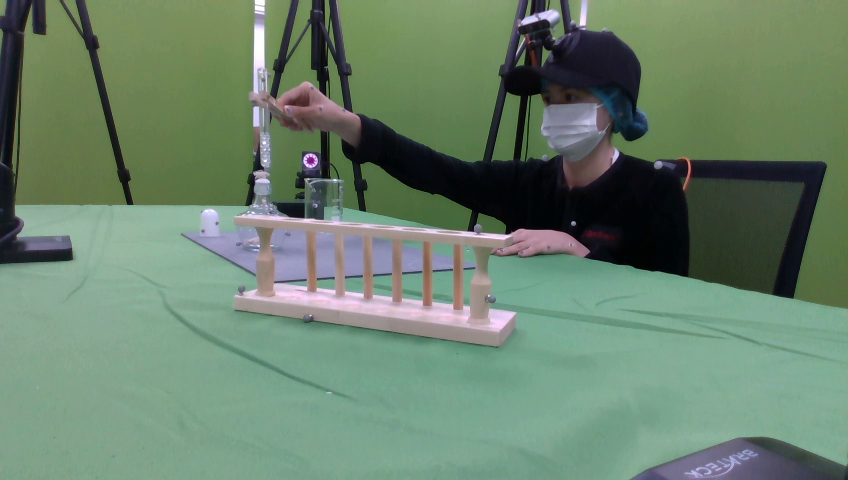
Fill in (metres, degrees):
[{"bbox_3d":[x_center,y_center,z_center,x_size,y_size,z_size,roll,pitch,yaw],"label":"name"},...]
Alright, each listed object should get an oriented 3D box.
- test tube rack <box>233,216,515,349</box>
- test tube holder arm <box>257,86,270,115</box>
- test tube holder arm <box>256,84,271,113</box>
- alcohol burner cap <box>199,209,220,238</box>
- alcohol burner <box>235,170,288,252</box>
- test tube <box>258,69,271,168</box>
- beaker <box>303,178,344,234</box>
[{"bbox_3d":[-0.045,0.029,0.526,0.241,0.085,0.067,5,8,19],"label":"test tube rack"},{"bbox_3d":[-0.243,-0.210,0.914,0.015,0.010,0.087,13,-13,-16],"label":"test tube holder arm"},{"bbox_3d":[-0.252,-0.225,0.955,0.015,0.013,0.178,11,23,-16],"label":"test tube holder arm"},{"bbox_3d":[-0.356,-0.027,1.002,0.034,0.048,0.034,2,7,0],"label":"alcohol burner cap"},{"bbox_3d":[-0.236,-0.042,0.882,0.078,0.119,0.078,2,9,0],"label":"alcohol burner"},{"bbox_3d":[-0.235,-0.178,0.887,0.017,0.150,0.017,-3,-8,0],"label":"test tube"},{"bbox_3d":[-0.189,-0.063,1.119,0.073,0.100,0.084,7,9,28],"label":"beaker"}]
